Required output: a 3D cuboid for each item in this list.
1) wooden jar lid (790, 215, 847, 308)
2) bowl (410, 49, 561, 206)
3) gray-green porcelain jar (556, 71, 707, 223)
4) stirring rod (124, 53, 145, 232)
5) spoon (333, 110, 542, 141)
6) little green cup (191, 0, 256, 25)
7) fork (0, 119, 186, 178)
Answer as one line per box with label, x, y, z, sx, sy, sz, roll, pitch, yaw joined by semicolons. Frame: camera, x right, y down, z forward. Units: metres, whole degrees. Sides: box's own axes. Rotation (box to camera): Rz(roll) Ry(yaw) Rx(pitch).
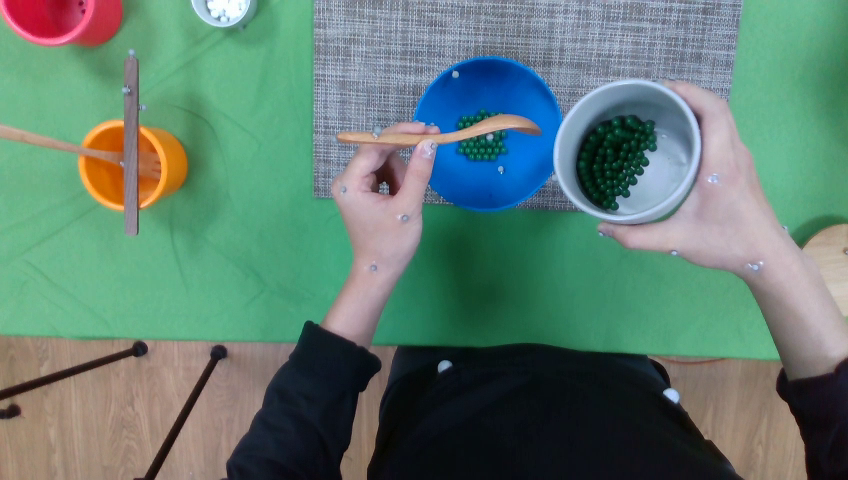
wooden jar lid;0.468;0.024;0.687;0.108;0.020;0.109;0;103;1
bowl;0.061;-0.115;0.630;0.151;0.076;0.152;0;102;1
gray-green porcelain jar;0.175;-0.069;0.499;0.105;0.127;0.105;-1;87;26
stirring rod;-0.289;-0.095;0.604;0.014;0.006;0.176;4;102;2
spoon;0.018;-0.090;0.490;0.194;0.041;0.022;-13;104;-31
little green cup;-0.206;-0.253;0.628;0.061;0.038;0.062;0;102;2
fork;-0.343;-0.095;0.607;0.209;0.018;0.028;11;109;-46
